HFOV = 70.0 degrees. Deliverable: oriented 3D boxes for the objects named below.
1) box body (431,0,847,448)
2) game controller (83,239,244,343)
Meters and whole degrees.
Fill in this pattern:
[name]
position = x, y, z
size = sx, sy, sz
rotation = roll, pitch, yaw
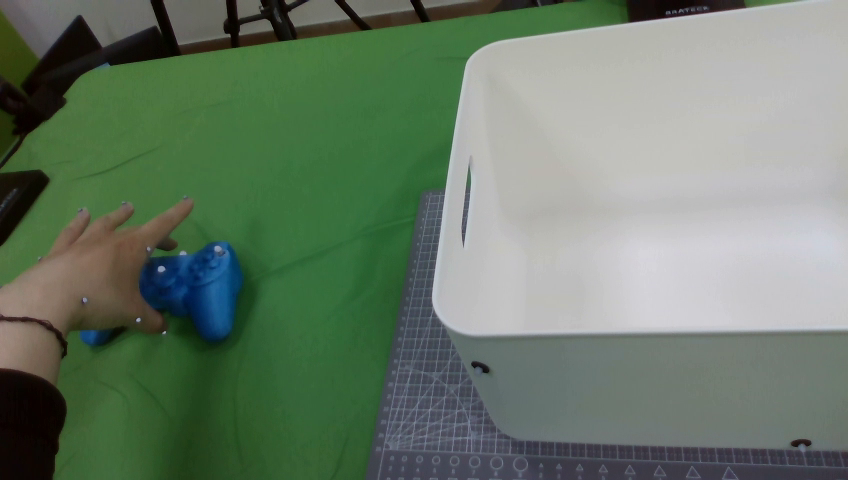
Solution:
[box body]
position = 0.208, -0.010, 0.389
size = 0.363, 0.162, 0.252
rotation = -3, 50, 14
[game controller]
position = -0.242, 0.043, 0.563
size = 0.155, 0.052, 0.096
rotation = -3, 48, 14
